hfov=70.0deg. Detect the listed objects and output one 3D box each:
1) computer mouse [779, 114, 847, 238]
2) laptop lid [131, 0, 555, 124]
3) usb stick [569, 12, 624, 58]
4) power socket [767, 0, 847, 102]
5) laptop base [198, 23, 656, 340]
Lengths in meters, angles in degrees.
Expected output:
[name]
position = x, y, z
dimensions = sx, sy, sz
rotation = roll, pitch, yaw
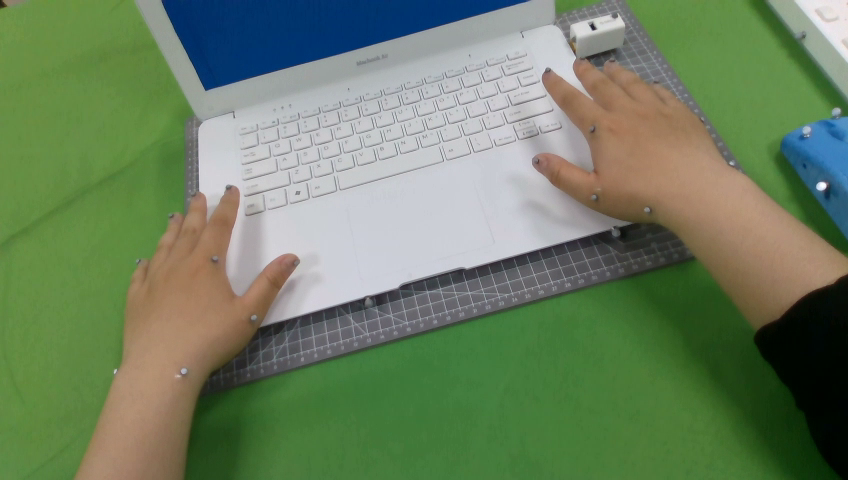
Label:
[computer mouse]
position = 0.312, -0.050, 0.432
dimensions = 0.063, 0.041, 0.116
rotation = -16, 51, 3
[laptop lid]
position = -0.069, -0.238, 0.501
dimensions = 0.357, 0.244, 0.013
rotation = -17, 43, 1
[usb stick]
position = 0.148, -0.184, 0.548
dimensions = 0.059, 0.027, 0.021
rotation = -16, 56, 4
[power socket]
position = 0.362, -0.180, 0.511
dimensions = 0.072, 0.033, 0.224
rotation = -13, 56, 3
[laptop base]
position = -0.018, -0.062, 0.516
dimensions = 0.354, 0.023, 0.233
rotation = -16, 59, 0
